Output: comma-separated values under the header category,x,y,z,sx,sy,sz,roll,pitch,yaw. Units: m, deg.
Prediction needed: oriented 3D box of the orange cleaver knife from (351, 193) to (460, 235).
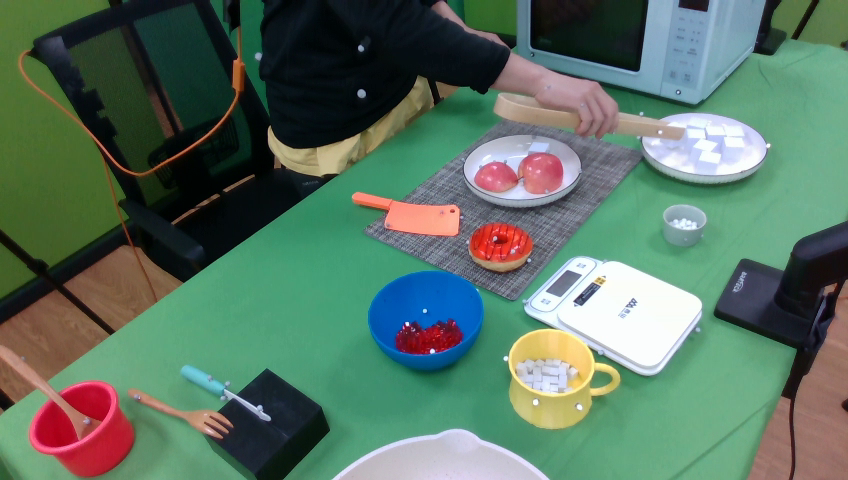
category,x,y,z,sx,sy,sz,roll,pitch,yaw
orange cleaver knife,-0.036,-0.044,1.029,0.210,0.012,0.077,10,48,18

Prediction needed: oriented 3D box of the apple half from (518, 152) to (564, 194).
category,x,y,z,sx,sy,sz,roll,pitch,yaw
apple half,0.204,-0.124,1.048,0.075,0.053,0.080,-6,40,-2

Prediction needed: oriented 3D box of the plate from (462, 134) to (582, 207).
category,x,y,z,sx,sy,sz,roll,pitch,yaw
plate,0.173,-0.119,1.070,0.209,0.038,0.208,-4,40,4

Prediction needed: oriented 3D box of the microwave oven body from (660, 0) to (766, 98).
category,x,y,z,sx,sy,sz,roll,pitch,yaw
microwave oven body,0.472,-0.513,1.317,0.438,0.261,0.327,26,51,34

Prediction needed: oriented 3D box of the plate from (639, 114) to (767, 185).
category,x,y,z,sx,sy,sz,roll,pitch,yaw
plate,0.489,-0.157,1.074,0.207,0.039,0.206,-4,40,4

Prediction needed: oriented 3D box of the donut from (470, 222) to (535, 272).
category,x,y,z,sx,sy,sz,roll,pitch,yaw
donut,0.119,0.009,0.923,0.099,0.048,0.098,-4,38,4

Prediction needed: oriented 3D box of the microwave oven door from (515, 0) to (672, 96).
category,x,y,z,sx,sy,sz,roll,pitch,yaw
microwave oven door,0.343,-0.455,1.259,0.353,0.245,0.039,26,51,33

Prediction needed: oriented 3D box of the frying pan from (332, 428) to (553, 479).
category,x,y,z,sx,sy,sz,roll,pitch,yaw
frying pan,-0.089,0.306,0.564,0.487,0.103,0.306,10,41,7

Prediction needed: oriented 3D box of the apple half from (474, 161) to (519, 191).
category,x,y,z,sx,sy,sz,roll,pitch,yaw
apple half,0.130,-0.119,1.067,0.081,0.033,0.081,-4,36,3

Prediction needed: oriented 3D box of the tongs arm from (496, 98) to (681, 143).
category,x,y,z,sx,sy,sz,roll,pitch,yaw
tongs arm,0.284,-0.189,0.982,0.391,0.028,0.028,1,37,-30

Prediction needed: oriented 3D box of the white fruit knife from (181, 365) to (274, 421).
category,x,y,z,sx,sy,sz,roll,pitch,yaw
white fruit knife,-0.245,0.187,0.747,0.205,0.027,0.016,9,41,40

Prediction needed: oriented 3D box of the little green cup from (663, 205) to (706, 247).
category,x,y,z,sx,sy,sz,roll,pitch,yaw
little green cup,0.396,-0.020,0.926,0.061,0.039,0.061,-4,40,4

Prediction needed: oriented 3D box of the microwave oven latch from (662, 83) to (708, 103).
category,x,y,z,sx,sy,sz,roll,pitch,yaw
microwave oven latch,0.518,-0.296,1.204,0.078,0.029,0.030,28,52,35

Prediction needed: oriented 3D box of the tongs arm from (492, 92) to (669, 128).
category,x,y,z,sx,sy,sz,roll,pitch,yaw
tongs arm,0.275,-0.201,0.998,0.388,0.026,0.050,4,32,-26

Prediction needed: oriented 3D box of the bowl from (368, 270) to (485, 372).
category,x,y,z,sx,sy,sz,roll,pitch,yaw
bowl,0.007,0.118,0.791,0.151,0.077,0.150,-5,40,4

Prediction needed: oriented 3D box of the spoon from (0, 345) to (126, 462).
category,x,y,z,sx,sy,sz,roll,pitch,yaw
spoon,-0.434,0.192,0.720,0.194,0.021,0.042,47,53,-6

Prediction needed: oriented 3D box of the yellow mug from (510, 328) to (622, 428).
category,x,y,z,sx,sy,sz,roll,pitch,yaw
yellow mug,0.168,0.164,0.721,0.130,0.064,0.099,0,40,8

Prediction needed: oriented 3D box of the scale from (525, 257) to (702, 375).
category,x,y,z,sx,sy,sz,roll,pitch,yaw
scale,0.254,0.091,0.821,0.199,0.032,0.149,28,51,35

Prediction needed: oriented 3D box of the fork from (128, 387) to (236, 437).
category,x,y,z,sx,sy,sz,roll,pitch,yaw
fork,-0.305,0.207,0.744,0.206,0.019,0.028,3,41,36
